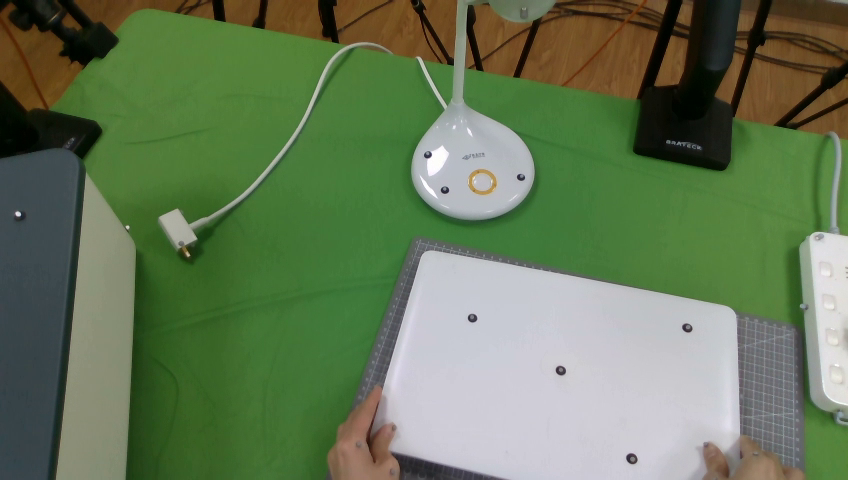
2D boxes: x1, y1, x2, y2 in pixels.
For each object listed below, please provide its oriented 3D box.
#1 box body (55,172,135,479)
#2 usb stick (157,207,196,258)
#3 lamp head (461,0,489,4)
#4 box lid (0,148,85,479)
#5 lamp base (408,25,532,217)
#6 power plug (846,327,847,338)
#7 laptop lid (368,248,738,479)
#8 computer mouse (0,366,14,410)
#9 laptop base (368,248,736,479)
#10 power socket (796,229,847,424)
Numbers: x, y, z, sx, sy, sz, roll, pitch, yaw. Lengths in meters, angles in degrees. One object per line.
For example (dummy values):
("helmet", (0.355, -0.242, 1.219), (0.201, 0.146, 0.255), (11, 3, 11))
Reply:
("box body", (-0.438, 0.119, 0.586), (0.254, 0.162, 0.360), (-11, 59, -5))
("usb stick", (-0.296, -0.007, 0.733), (0.027, 0.021, 0.059), (-29, 92, -32))
("lamp head", (0.072, -0.249, 0.458), (0.112, 0.112, 0.123), (-14, 103, -6))
("box lid", (-0.440, 0.078, 0.525), (0.263, 0.015, 0.367), (-11, 60, -5))
("lamp base", (0.051, -0.147, 0.723), (0.161, 0.182, 0.177), (-21, 57, -11))
("power plug", (0.473, 0.105, 0.619), (0.072, 0.053, 0.035), (21, 61, 12))
("laptop lid", (0.139, 0.134, 0.625), (0.356, 0.013, 0.240), (12, 59, 9))
("computer mouse", (-0.463, 0.168, 0.616), (0.063, 0.041, 0.116), (-38, 24, -9))
("laptop base", (0.140, 0.139, 0.636), (0.353, 0.023, 0.234), (10, 60, 8))
("power socket", (0.453, 0.084, 0.659), (0.072, 0.033, 0.225), (12, 60, 7))
